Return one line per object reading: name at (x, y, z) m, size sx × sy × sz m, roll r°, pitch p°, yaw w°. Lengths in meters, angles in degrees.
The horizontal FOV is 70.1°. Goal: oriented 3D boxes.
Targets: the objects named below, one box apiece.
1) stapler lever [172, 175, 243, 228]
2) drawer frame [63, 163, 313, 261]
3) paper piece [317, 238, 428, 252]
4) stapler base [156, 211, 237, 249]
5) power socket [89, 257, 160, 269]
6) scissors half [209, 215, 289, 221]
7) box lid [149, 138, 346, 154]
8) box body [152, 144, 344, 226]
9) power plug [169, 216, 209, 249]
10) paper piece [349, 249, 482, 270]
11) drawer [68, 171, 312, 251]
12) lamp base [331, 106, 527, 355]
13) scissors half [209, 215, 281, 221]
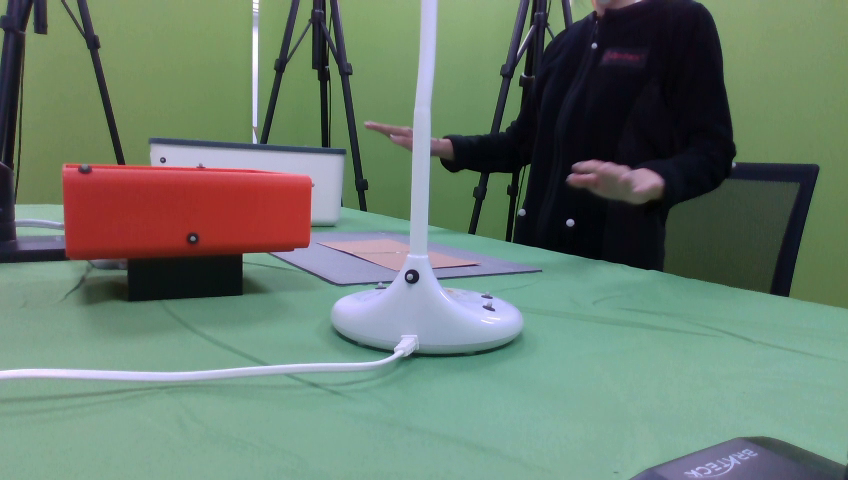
stapler lever at (-0.217, -0.042, 0.618) m, size 0.027 × 0.040 × 0.118 m, roll 19°, pitch 11°, yaw -2°
drawer frame at (-0.248, -0.036, 0.626) m, size 0.215 × 0.082 × 0.200 m, roll -3°, pitch 9°, yaw -31°
paper piece at (-0.083, 0.008, 0.951) m, size 0.136 × 0.004 × 0.134 m, roll -2°, pitch 8°, yaw -31°
stapler base at (-0.227, -0.017, 0.624) m, size 0.041 × 0.024 × 0.130 m, roll 19°, pitch 9°, yaw -2°
power socket at (-0.409, 0.004, 0.793) m, size 0.072 × 0.032 × 0.225 m, roll -2°, pitch 8°, yaw -38°
scissors half at (-0.358, -0.045, 1.235) m, size 0.175 × 0.013 × 0.040 m, roll 1°, pitch -1°, yaw 8°
box lid at (-0.365, -0.191, 1.255) m, size 0.373 × 0.015 × 0.262 m, roll -1°, pitch 8°, yaw -24°
box body at (-0.370, -0.119, 1.264) m, size 0.366 × 0.160 × 0.253 m, roll -1°, pitch 8°, yaw -24°
power plug at (-0.343, -0.007, 0.889) m, size 0.035 × 0.052 × 0.072 m, roll -8°, pitch -7°, yaw -41°
paper piece at (-0.013, 0.026, 0.842) m, size 0.139 × 0.008 × 0.135 m, roll 0°, pitch 11°, yaw -32°
drawer at (-0.246, -0.036, 0.629) m, size 0.213 × 0.073 × 0.193 m, roll -2°, pitch 9°, yaw -30°
lamp base at (0.006, -0.012, 0.478) m, size 0.161 × 0.180 × 0.179 m, roll 2°, pitch 10°, yaw 2°
scissors half at (-0.364, -0.044, 1.215) m, size 0.174 × 0.013 × 0.040 m, roll 1°, pitch 4°, yaw 26°
